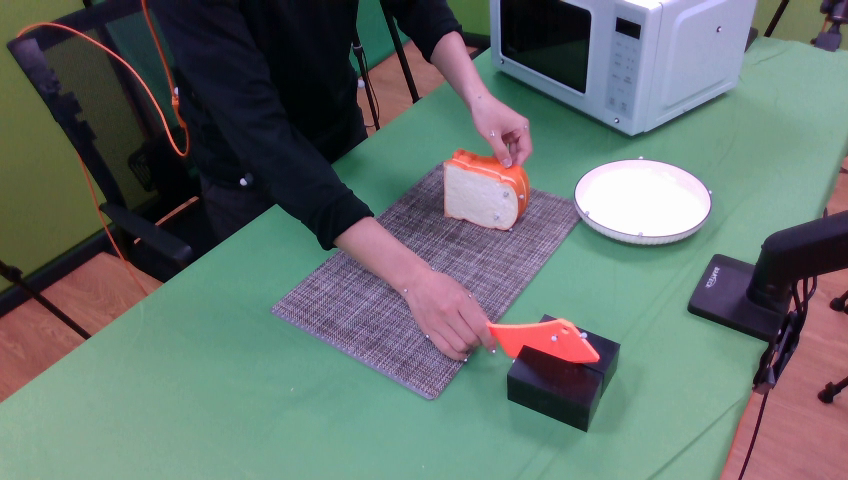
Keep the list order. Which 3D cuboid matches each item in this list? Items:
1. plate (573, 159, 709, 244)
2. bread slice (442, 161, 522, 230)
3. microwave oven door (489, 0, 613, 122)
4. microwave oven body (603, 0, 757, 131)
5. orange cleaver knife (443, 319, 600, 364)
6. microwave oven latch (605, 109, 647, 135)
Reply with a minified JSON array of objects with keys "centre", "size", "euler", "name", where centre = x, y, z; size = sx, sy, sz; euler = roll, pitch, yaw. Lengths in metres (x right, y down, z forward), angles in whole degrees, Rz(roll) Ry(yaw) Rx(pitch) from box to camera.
[{"centre":[0.347,-0.059,0.978],"size":[0.207,0.039,0.206],"euler":[-4,41,4],"name":"plate"},{"centre":[0.091,-0.069,0.967],"size":[0.133,0.107,0.018],"euler":[14,43,25],"name":"bread slice"},{"centre":[0.251,-0.412,1.219],"size":[0.039,0.245,0.352],"euler":[-27,44,-21],"name":"microwave oven door"},{"centre":[0.396,-0.448,1.248],"size":[0.327,0.261,0.437],"euler":[-27,44,-21],"name":"microwave oven body"},{"centre":[0.114,0.125,0.749],"size":[0.210,0.077,0.012],"euler":[-5,37,43],"name":"orange cleaver knife"},{"centre":[0.379,-0.225,1.139],"size":[0.030,0.029,0.078],"euler":[-26,43,-20],"name":"microwave oven latch"}]
